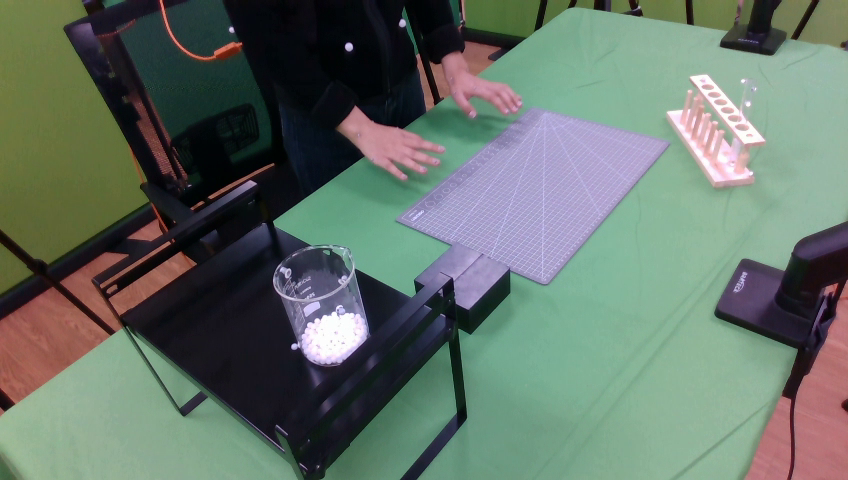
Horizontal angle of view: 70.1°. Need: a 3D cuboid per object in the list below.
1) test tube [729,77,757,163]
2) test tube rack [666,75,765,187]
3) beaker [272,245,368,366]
[{"bbox_3d":[0.525,-0.195,0.997,0.017,0.151,0.017,-4,36,4],"label":"test tube"},{"bbox_3d":[0.512,-0.201,1.082,0.067,0.085,0.241,-6,41,2],"label":"test tube rack"},{"bbox_3d":[-0.093,0.064,0.578,0.073,0.101,0.084,21,48,29],"label":"beaker"}]
